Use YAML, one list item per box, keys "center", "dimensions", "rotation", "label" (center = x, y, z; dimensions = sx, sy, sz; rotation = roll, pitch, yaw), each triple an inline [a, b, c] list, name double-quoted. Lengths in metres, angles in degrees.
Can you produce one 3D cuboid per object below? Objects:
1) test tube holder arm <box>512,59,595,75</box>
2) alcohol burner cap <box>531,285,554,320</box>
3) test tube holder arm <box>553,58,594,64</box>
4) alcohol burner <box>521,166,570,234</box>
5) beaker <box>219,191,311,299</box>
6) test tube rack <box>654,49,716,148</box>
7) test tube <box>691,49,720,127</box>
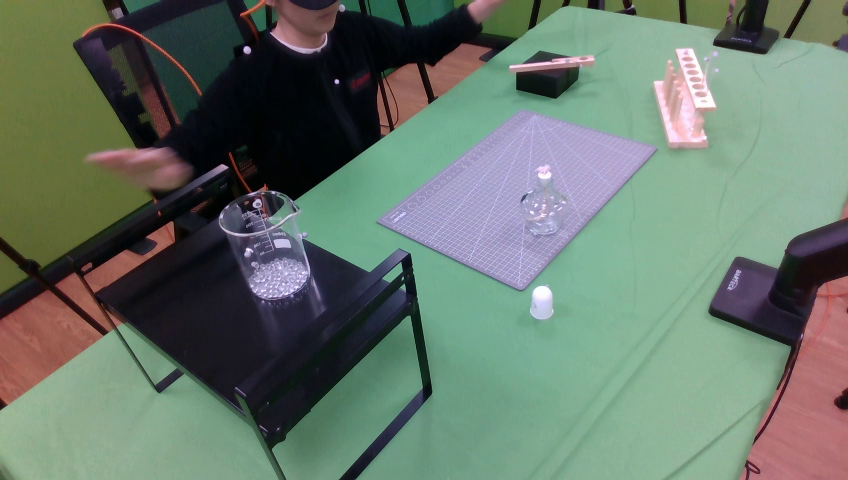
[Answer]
- center: [0.276, -0.371, 1.293]
  dimensions: [0.179, 0.015, 0.013]
  rotation: [-8, 38, -2]
  label: "test tube holder arm"
- center: [0.164, 0.084, 0.838]
  dimensions: [0.034, 0.048, 0.033]
  rotation: [-4, 40, 4]
  label: "alcohol burner cap"
- center: [0.321, -0.380, 1.299]
  dimensions: [0.088, 0.015, 0.010]
  rotation: [-5, 38, 1]
  label: "test tube holder arm"
- center: [0.192, -0.068, 0.951]
  dimensions: [0.078, 0.119, 0.077]
  rotation: [-4, 43, 4]
  label: "alcohol burner"
- center: [-0.164, 0.008, 0.654]
  dimensions: [0.084, 0.101, 0.073]
  rotation: [-10, 41, -3]
  label: "beaker"
- center: [0.502, -0.281, 1.176]
  dimensions: [0.066, 0.085, 0.241]
  rotation: [2, 41, 11]
  label: "test tube rack"
- center: [0.505, -0.270, 1.087]
  dimensions: [0.017, 0.151, 0.017]
  rotation: [-2, 41, 2]
  label: "test tube"
